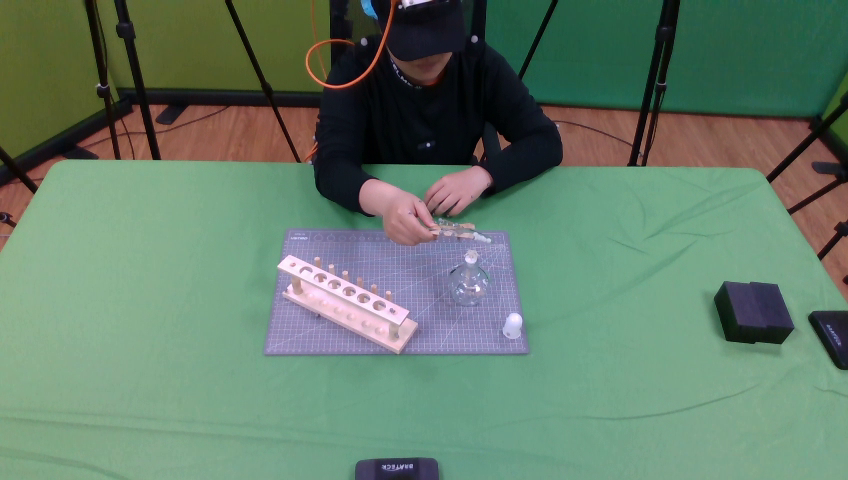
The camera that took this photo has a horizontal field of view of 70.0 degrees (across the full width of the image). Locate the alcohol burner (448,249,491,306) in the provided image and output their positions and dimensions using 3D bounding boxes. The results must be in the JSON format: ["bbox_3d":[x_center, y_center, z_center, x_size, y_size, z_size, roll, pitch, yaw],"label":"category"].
[{"bbox_3d":[0.081,0.062,1.078,0.078,0.120,0.077,1,45,-1],"label":"alcohol burner"}]

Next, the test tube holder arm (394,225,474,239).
[{"bbox_3d":[0.012,-0.014,1.020,0.178,0.015,0.013,5,80,45],"label":"test tube holder arm"}]

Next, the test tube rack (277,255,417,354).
[{"bbox_3d":[-0.131,0.099,1.045,0.241,0.085,0.066,23,49,17],"label":"test tube rack"}]

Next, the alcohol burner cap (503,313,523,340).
[{"bbox_3d":[0.156,0.148,1.051,0.034,0.048,0.033,1,45,-1],"label":"alcohol burner cap"}]

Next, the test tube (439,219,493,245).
[{"bbox_3d":[0.072,-0.011,0.988,0.151,0.017,0.017,18,24,-53],"label":"test tube"}]

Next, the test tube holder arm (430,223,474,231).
[{"bbox_3d":[0.045,-0.019,0.989,0.087,0.015,0.010,-5,73,43],"label":"test tube holder arm"}]
